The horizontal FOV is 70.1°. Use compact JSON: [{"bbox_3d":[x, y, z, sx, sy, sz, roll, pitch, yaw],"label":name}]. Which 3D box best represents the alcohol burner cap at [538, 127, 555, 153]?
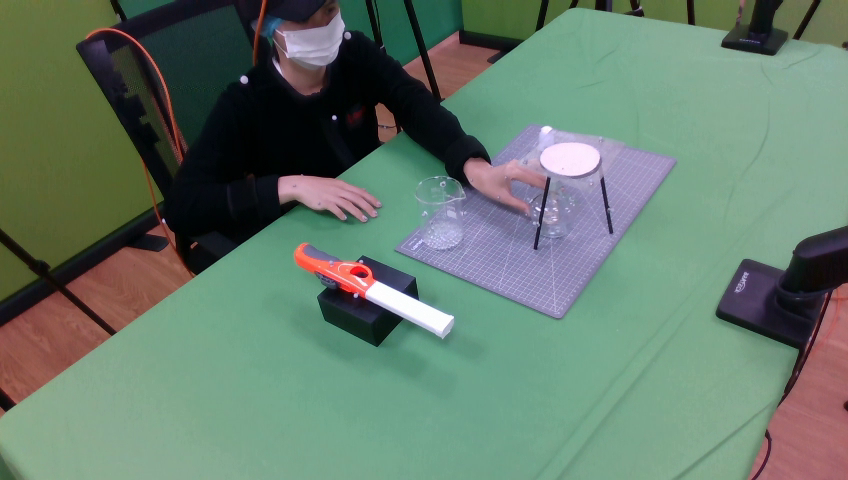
[{"bbox_3d":[0.234,-0.191,1.147,0.034,0.048,0.033,-5,40,5],"label":"alcohol burner cap"}]

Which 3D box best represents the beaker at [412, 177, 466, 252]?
[{"bbox_3d":[0.029,-0.038,0.952,0.083,0.101,0.074,9,43,18],"label":"beaker"}]

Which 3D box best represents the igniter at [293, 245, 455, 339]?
[{"bbox_3d":[-0.079,0.066,0.834,0.274,0.025,0.057,23,48,27],"label":"igniter"}]

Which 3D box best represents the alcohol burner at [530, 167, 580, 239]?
[{"bbox_3d":[0.203,-0.061,0.941,0.078,0.119,0.077,-6,40,6],"label":"alcohol burner"}]

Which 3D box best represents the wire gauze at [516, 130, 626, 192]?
[{"bbox_3d":[0.217,-0.124,0.892,0.124,0.011,0.122,22,49,31],"label":"wire gauze"}]

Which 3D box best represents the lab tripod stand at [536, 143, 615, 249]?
[{"bbox_3d":[0.224,-0.069,0.931,0.148,0.132,0.147,-4,42,4],"label":"lab tripod stand"}]
